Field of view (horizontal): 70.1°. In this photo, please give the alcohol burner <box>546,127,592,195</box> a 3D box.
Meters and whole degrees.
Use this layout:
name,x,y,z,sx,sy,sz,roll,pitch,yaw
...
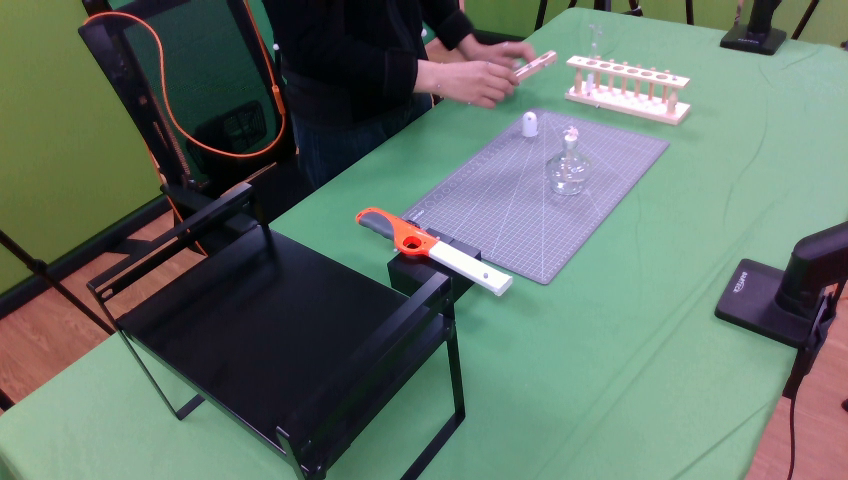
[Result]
name,x,y,z,sx,sy,sz,roll,pitch,yaw
alcohol burner,0.247,-0.137,1.023,0.078,0.119,0.077,-4,38,4

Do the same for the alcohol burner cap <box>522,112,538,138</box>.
name,x,y,z,sx,sy,sz,roll,pitch,yaw
alcohol burner cap,0.210,-0.230,1.195,0.034,0.048,0.033,-5,40,5

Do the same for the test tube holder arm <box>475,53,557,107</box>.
name,x,y,z,sx,sy,sz,roll,pitch,yaw
test tube holder arm,0.167,-0.291,1.097,0.179,0.015,0.013,-34,39,-11

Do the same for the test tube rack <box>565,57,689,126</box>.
name,x,y,z,sx,sy,sz,roll,pitch,yaw
test tube rack,0.411,-0.311,1.230,0.240,0.085,0.067,23,49,32

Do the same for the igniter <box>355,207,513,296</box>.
name,x,y,z,sx,sy,sz,roll,pitch,yaw
igniter,0.006,0.010,0.885,0.274,0.025,0.057,27,53,30

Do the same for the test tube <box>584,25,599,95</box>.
name,x,y,z,sx,sy,sz,roll,pitch,yaw
test tube,0.339,-0.361,1.224,0.017,0.151,0.017,-4,45,4

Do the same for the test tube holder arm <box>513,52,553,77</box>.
name,x,y,z,sx,sy,sz,roll,pitch,yaw
test tube holder arm,0.202,-0.318,1.110,0.088,0.015,0.010,-33,39,-11
